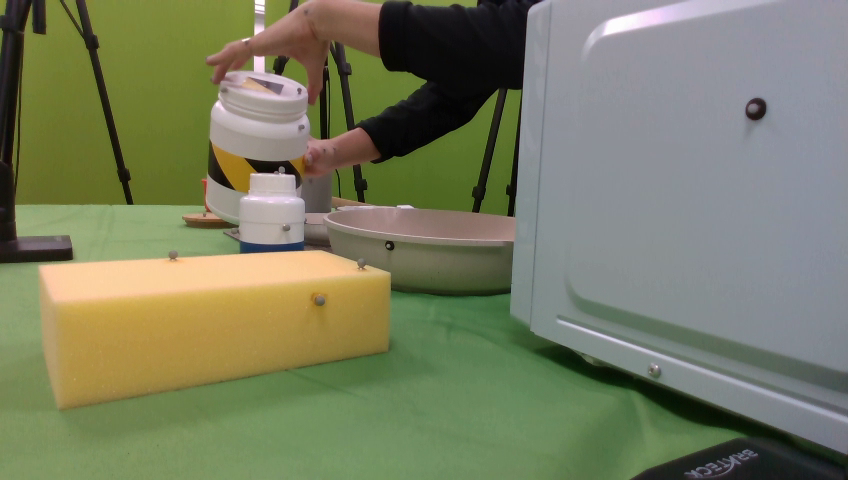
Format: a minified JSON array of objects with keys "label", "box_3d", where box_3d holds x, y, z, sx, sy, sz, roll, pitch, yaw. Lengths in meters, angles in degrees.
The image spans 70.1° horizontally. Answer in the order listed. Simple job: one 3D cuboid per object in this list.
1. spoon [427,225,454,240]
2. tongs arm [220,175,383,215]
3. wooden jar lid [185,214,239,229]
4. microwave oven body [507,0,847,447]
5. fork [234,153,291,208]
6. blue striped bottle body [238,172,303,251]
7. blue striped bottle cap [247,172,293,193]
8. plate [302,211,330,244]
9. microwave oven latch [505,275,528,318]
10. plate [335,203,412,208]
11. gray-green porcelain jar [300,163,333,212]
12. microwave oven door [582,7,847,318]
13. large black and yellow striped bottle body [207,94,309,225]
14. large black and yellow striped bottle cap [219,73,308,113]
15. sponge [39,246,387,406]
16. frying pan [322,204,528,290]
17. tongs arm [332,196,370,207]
[{"label":"spoon","box_3d":[0.024,-0.019,1.124,0.042,0.021,0.193,-16,9,-4]},{"label":"tongs arm","box_3d":[-0.285,-0.106,1.445,0.389,0.027,0.028,10,-3,-23]},{"label":"wooden jar lid","box_3d":[-0.404,-0.037,1.169,0.108,0.020,0.108,3,7,0]},{"label":"microwave oven body","box_3d":[0.331,-0.042,0.425,0.444,0.260,0.324,-2,8,-31]},{"label":"fork","box_3d":[-0.396,-0.143,1.486,0.028,0.018,0.208,19,-26,44]},{"label":"blue striped bottle body","box_3d":[-0.153,-0.007,0.605,0.063,0.120,0.063,2,8,0]},{"label":"blue striped bottle cap","box_3d":[-0.152,-0.057,0.598,0.044,0.020,0.044,3,7,0]},{"label":"plate","box_3d":[-0.139,-0.022,1.021,0.209,0.038,0.209,2,8,0]},{"label":"microwave oven latch","box_3d":[0.100,0.041,0.472,0.079,0.029,0.030,-2,8,-31]},{"label":"plate","box_3d":[-0.089,-0.053,1.309,0.208,0.039,0.207,2,8,0]},{"label":"gray-green porcelain jar","box_3d":[-0.238,-0.092,1.221,0.106,0.126,0.106,2,7,0]},{"label":"microwave oven door","box_3d":[0.295,-0.067,0.569,0.358,0.243,0.039,-3,8,-31]},{"label":"large black and yellow striped bottle body","box_3d":[-0.233,-0.125,0.852,0.131,0.184,0.130,11,28,-5]},{"label":"large black and yellow striped bottle cap","box_3d":[-0.214,-0.199,0.812,0.115,0.019,0.115,10,29,-5]},{"label":"sponge","box_3d":[-0.142,0.047,0.420,0.208,0.061,0.117,-4,10,-36]},{"label":"frying pan","box_3d":[0.110,-0.018,0.800,0.490,0.102,0.305,-12,16,-30]},{"label":"tongs arm","box_3d":[-0.241,-0.095,1.374,0.387,0.026,0.050,9,1,-37]}]
